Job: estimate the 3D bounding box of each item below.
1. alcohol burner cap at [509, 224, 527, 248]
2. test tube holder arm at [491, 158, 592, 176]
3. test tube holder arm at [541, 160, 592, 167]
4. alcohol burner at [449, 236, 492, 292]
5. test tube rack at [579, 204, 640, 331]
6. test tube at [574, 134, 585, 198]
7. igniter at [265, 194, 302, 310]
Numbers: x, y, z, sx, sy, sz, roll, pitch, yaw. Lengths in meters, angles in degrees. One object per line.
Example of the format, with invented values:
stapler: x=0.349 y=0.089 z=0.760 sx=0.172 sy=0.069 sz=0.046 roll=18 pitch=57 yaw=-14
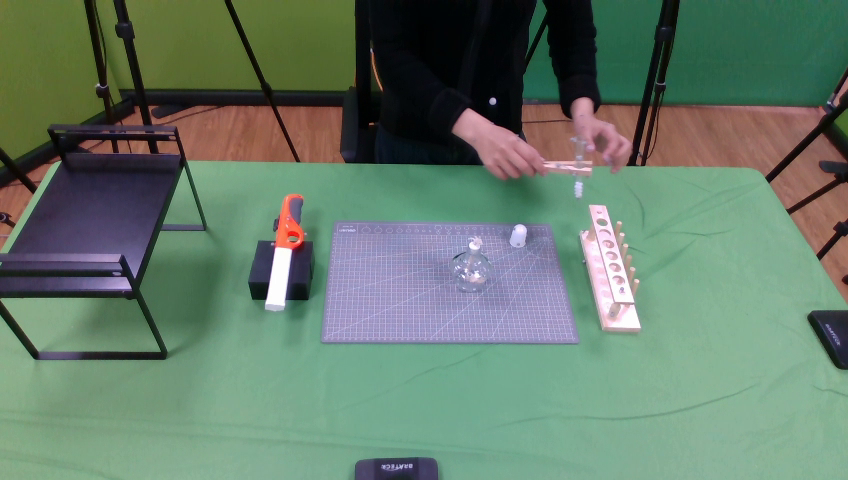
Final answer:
alcohol burner cap: x=0.189 y=-0.011 z=1.205 sx=0.034 sy=0.048 sz=0.033 roll=1 pitch=46 yaw=-1
test tube holder arm: x=0.206 y=-0.131 z=1.076 sx=0.178 sy=0.015 sz=0.013 roll=7 pitch=53 yaw=19
test tube holder arm: x=0.250 y=-0.132 z=1.066 sx=0.088 sy=0.015 sz=0.010 roll=0 pitch=52 yaw=14
alcohol burner: x=0.086 y=0.038 z=1.101 sx=0.078 sy=0.119 sz=0.077 roll=2 pitch=44 yaw=-2
test tube rack: x=0.353 y=0.047 z=1.137 sx=0.067 sy=0.085 sz=0.241 roll=2 pitch=46 yaw=-2
test tube: x=0.271 y=-0.125 z=1.058 sx=0.017 sy=0.151 sz=0.017 roll=-6 pitch=52 yaw=8
igniter: x=-0.253 y=0.011 z=1.099 sx=0.057 sy=0.025 sz=0.274 roll=9 pitch=46 yaw=-12
